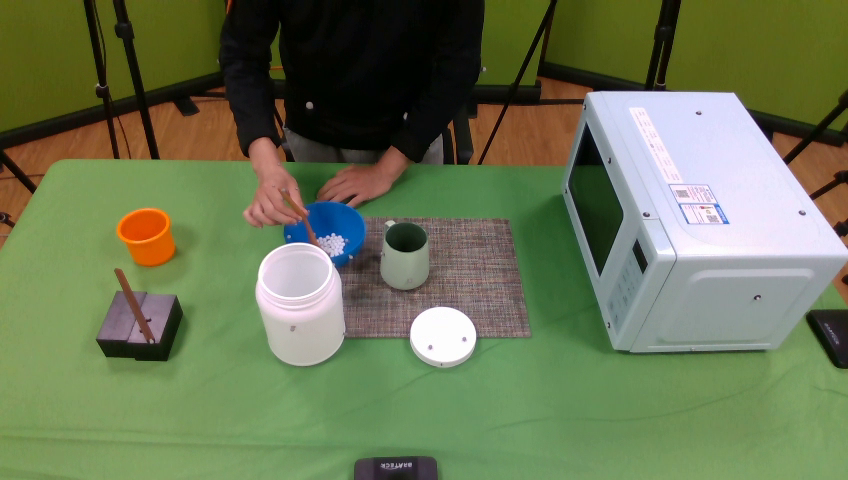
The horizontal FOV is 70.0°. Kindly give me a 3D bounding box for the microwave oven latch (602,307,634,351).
[{"bbox_3d":[0.332,0.153,1.044,0.030,0.029,0.078,0,45,-4],"label":"microwave oven latch"}]

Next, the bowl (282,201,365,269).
[{"bbox_3d":[-0.185,0.006,1.136,0.151,0.077,0.150,3,46,-3],"label":"bowl"}]

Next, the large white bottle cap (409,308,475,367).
[{"bbox_3d":[0.031,0.165,1.041,0.115,0.018,0.114,2,47,-2],"label":"large white bottle cap"}]

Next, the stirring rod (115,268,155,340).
[{"bbox_3d":[-0.478,0.103,0.999,0.014,0.006,0.175,7,32,-49],"label":"stirring rod"}]

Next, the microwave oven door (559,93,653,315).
[{"bbox_3d":[0.327,-0.074,1.123,0.039,0.245,0.353,-1,46,-5],"label":"microwave oven door"}]

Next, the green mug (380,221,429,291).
[{"bbox_3d":[-0.043,0.020,1.116,0.092,0.105,0.124,-20,50,-21],"label":"green mug"}]

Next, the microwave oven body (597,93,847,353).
[{"bbox_3d":[0.475,-0.041,1.109,0.326,0.261,0.438,-1,45,-4],"label":"microwave oven body"}]

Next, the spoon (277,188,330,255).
[{"bbox_3d":[-0.214,-0.031,1.076,0.021,0.195,0.041,-42,51,-18],"label":"spoon"}]

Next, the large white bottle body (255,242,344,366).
[{"bbox_3d":[-0.196,0.102,0.967,0.131,0.185,0.130,2,49,-2],"label":"large white bottle body"}]
